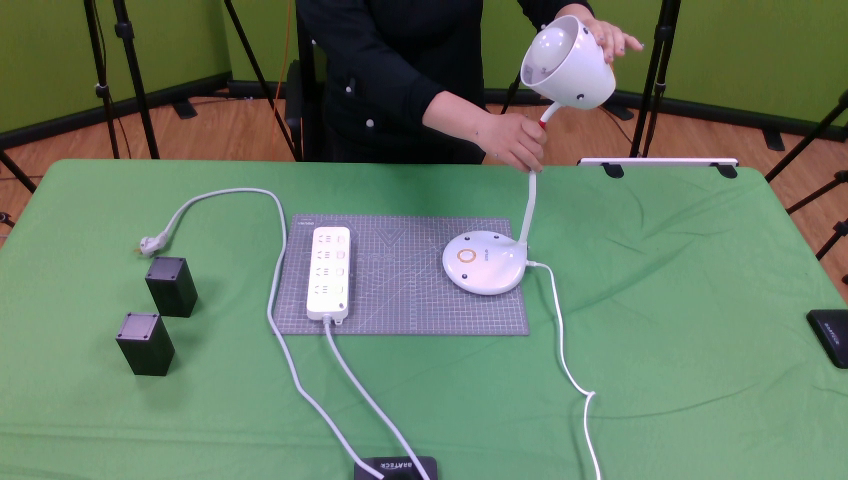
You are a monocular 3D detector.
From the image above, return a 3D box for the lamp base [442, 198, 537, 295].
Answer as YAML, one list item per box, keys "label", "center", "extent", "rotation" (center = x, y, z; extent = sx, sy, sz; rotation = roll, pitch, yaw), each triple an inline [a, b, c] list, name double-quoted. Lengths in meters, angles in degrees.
- label: "lamp base"
  center: [0.132, -0.012, 1.105]
  extent: [0.179, 0.181, 0.159]
  rotation: [0, 46, -10]

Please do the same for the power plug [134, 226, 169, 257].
- label: "power plug"
  center: [-0.516, 0.006, 1.152]
  extent: [0.052, 0.035, 0.072]
  rotation: [-7, 25, 5]

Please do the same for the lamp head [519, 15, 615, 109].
- label: "lamp head"
  center: [0.214, -0.242, 0.879]
  extent: [0.123, 0.112, 0.111]
  rotation: [31, 35, -32]

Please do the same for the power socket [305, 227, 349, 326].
- label: "power socket"
  center: [-0.177, 0.058, 1.116]
  extent: [0.072, 0.033, 0.225]
  rotation: [-1, 46, -4]

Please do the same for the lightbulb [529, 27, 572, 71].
- label: "lightbulb"
  center: [0.198, -0.259, 0.868]
  extent: [0.108, 0.059, 0.059]
  rotation: [30, 40, -23]
